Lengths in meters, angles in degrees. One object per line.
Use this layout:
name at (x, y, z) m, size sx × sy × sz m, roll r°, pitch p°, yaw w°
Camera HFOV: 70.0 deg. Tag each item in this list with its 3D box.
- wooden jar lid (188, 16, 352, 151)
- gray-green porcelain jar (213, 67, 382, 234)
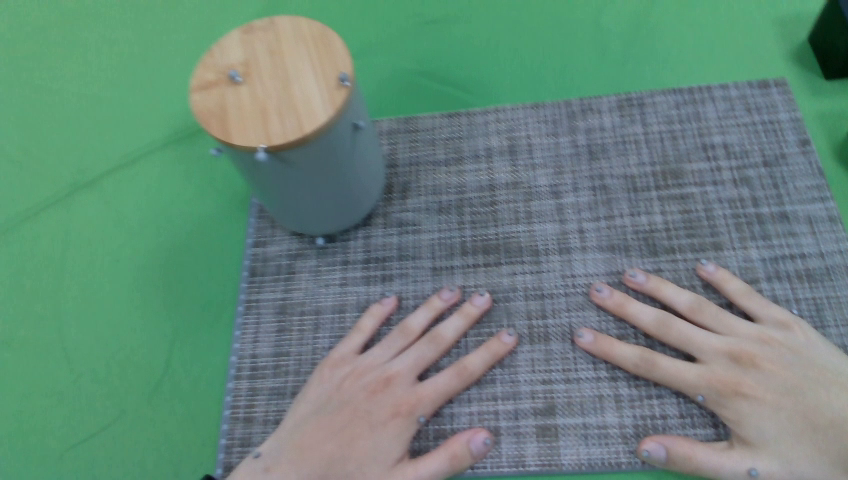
wooden jar lid at (-0.100, -0.102, 0.402) m, size 0.108 × 0.021 × 0.107 m, roll -2°, pitch 65°, yaw 4°
gray-green porcelain jar at (-0.091, -0.073, 0.456) m, size 0.106 × 0.127 × 0.105 m, roll -3°, pitch 62°, yaw 6°
